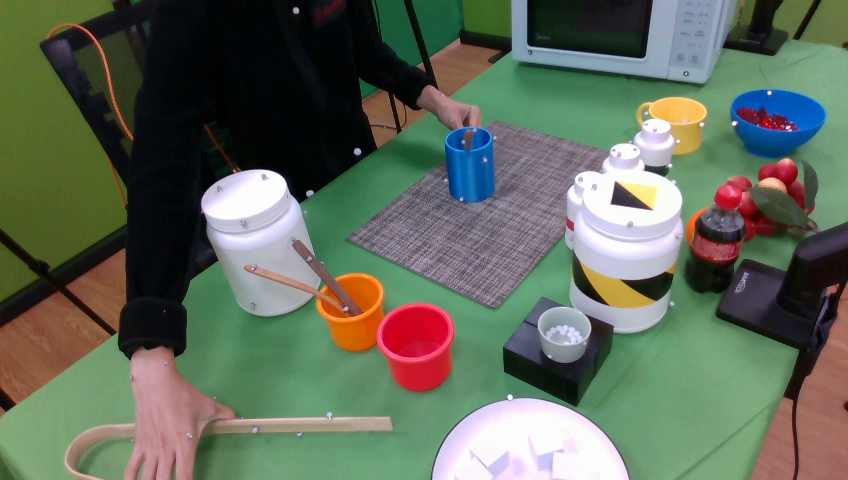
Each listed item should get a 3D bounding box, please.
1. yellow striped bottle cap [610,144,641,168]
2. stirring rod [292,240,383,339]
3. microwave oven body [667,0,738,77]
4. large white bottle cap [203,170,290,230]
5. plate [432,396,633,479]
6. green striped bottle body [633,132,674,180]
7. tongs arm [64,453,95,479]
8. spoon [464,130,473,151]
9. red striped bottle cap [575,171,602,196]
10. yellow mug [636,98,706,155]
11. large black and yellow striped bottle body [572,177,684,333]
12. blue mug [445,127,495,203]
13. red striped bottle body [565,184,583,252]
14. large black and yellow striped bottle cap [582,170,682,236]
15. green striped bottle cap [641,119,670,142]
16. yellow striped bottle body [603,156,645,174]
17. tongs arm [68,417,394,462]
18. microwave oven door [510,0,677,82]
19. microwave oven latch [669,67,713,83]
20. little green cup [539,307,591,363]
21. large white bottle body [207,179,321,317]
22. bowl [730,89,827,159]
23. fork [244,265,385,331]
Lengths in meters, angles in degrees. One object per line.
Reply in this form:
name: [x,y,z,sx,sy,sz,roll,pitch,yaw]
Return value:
yellow striped bottle cap: [0.307,-0.128,0.923,0.044,0.019,0.044,-5,40,5]
stirring rod: [-0.118,0.068,0.826,0.176,0.006,0.014,49,59,-4]
microwave oven body: [0.462,-0.552,1.369,0.439,0.261,0.326,15,45,26]
large white bottle cap: [-0.241,-0.057,0.822,0.115,0.018,0.114,-4,41,4]
plate: [0.112,0.261,0.634,0.209,0.038,0.208,-5,40,4]
green striped bottle body: [0.376,-0.135,1.001,0.063,0.120,0.063,-5,40,5]
tongs arm: [-0.240,0.287,0.662,0.386,0.028,0.028,6,48,16]
spoon: [0.072,-0.143,0.998,0.041,0.194,0.021,-5,74,3]
red striped bottle cap: [0.242,-0.081,0.876,0.044,0.018,0.044,-5,44,5]
yellow mug: [0.453,-0.217,1.129,0.100,0.064,0.129,-34,46,-27]
large black and yellow striped bottle body: [0.262,0.017,0.788,0.131,0.185,0.130,-5,40,4]
blue mug: [0.081,-0.140,1.060,0.082,0.106,0.116,-4,40,5]
red striped bottle body: [0.247,-0.041,0.910,0.063,0.120,0.062,-3,39,3]
large black and yellow striped bottle cap: [0.252,-0.048,0.735,0.115,0.019,0.114,-3,40,3]
green striped bottle cap: [0.371,-0.175,0.968,0.044,0.020,0.044,-7,41,6]
yellow striped bottle body: [0.313,-0.089,0.956,0.063,0.121,0.062,-4,40,4]
tongs arm: [-0.229,0.238,0.717,0.384,0.026,0.050,-2,43,7]
microwave oven door: [0.352,-0.477,1.289,0.353,0.245,0.039,15,44,25]
microwave oven latch: [0.556,-0.349,1.261,0.078,0.029,0.030,16,46,27]
little green cup: [0.167,0.114,0.721,0.061,0.039,0.061,-4,43,4]
large white bottle body: [-0.232,0.007,0.877,0.130,0.185,0.130,-5,40,4]
bowl: [0.615,-0.197,1.069,0.151,0.077,0.150,-5,40,4]
fork: [-0.142,0.078,0.806,0.209,0.018,0.028,30,31,-23]
